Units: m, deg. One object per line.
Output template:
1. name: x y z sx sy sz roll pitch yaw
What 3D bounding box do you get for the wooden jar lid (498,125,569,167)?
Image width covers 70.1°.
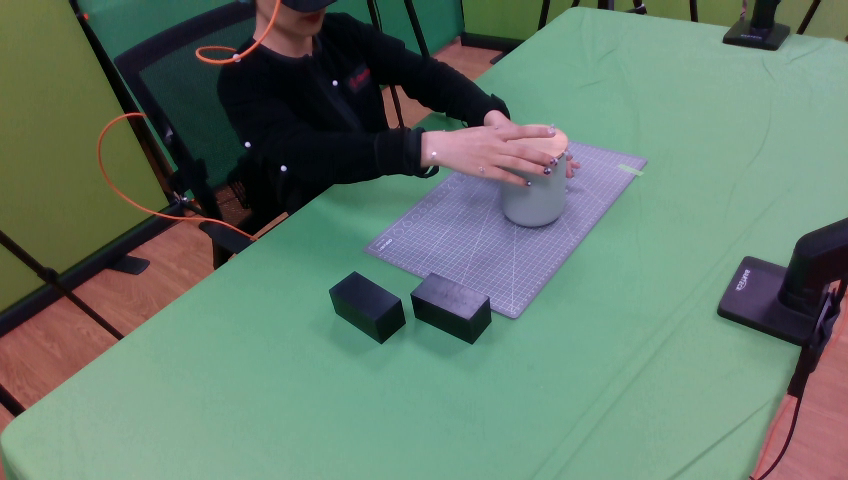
1. wooden jar lid: 0.168 -0.142 0.933 0.108 0.021 0.108 -5 41 5

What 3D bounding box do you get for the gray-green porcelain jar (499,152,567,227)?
1. gray-green porcelain jar: 0.177 -0.093 0.974 0.106 0.127 0.105 -6 40 5
